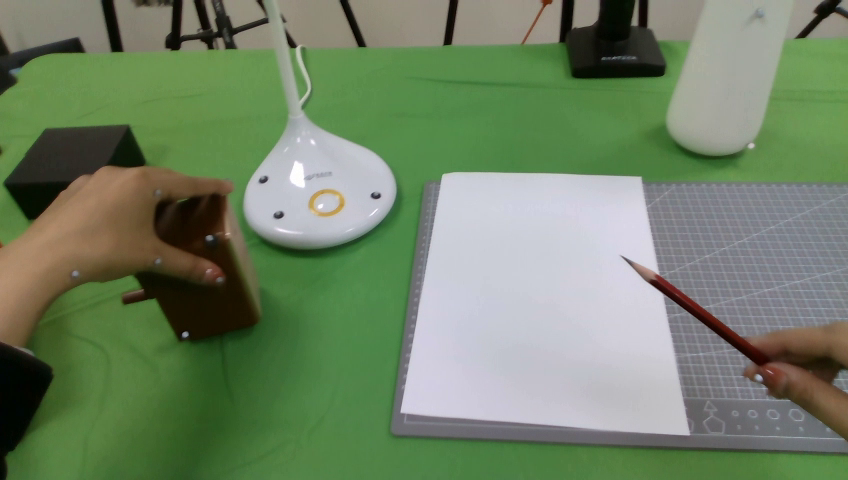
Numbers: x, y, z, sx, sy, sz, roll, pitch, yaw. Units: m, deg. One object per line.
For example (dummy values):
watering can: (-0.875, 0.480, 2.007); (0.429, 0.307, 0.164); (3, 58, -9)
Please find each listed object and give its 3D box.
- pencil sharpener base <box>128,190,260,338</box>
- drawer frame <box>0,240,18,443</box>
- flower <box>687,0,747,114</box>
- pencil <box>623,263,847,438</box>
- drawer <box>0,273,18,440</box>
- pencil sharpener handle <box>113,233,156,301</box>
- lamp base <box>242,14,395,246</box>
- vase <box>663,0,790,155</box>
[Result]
pencil sharpener base: (-0.188, 0.023, 0.504); (0.077, 0.108, 0.060); (-15, 46, -10)
drawer frame: (-0.444, 0.095, 0.477); (0.202, 0.083, 0.211); (-23, 47, -17)
flower: (0.298, -0.231, 0.550); (0.038, 0.364, 0.043); (-41, 67, -15)
pencil: (0.186, 0.067, 0.339); (0.195, 0.012, 0.012); (35, 48, -9)
drawer: (-0.440, 0.097, 0.476); (0.195, 0.074, 0.209); (-22, 46, -16)
pencil sharpener handle: (-0.238, 0.026, 0.486); (0.031, 0.068, 0.035); (-15, 51, -10)
lamp base: (-0.121, -0.114, 0.594); (0.161, 0.182, 0.177); (-22, 45, -17)
vase: (0.311, -0.188, 0.622); (0.098, 0.202, 0.097); (-3, 43, 3)
